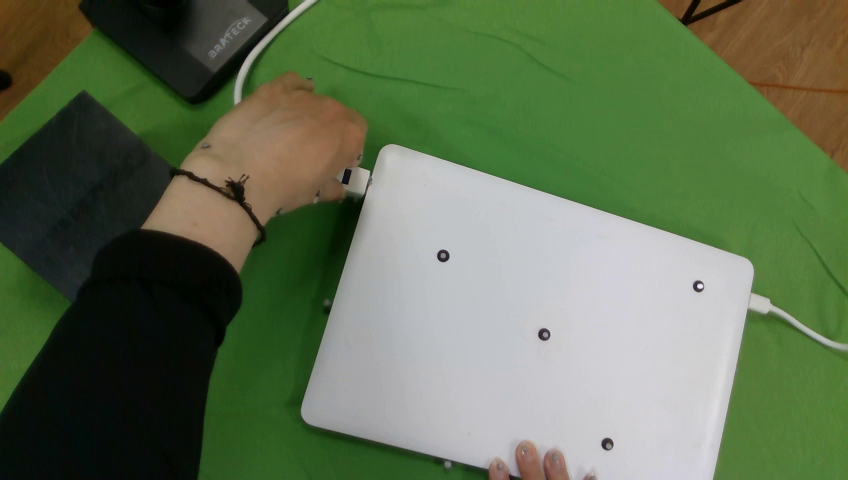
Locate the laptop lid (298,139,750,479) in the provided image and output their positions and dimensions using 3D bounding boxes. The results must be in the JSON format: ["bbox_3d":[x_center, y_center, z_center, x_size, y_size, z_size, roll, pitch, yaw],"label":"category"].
[{"bbox_3d":[0.097,0.075,0.506,0.358,0.013,0.241,18,83,-8],"label":"laptop lid"}]

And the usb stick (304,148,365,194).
[{"bbox_3d":[-0.065,-0.053,0.488,0.059,0.027,0.021,19,82,-13],"label":"usb stick"}]

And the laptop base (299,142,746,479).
[{"bbox_3d":[0.095,0.075,0.519,0.355,0.023,0.235,16,83,-7],"label":"laptop base"}]
